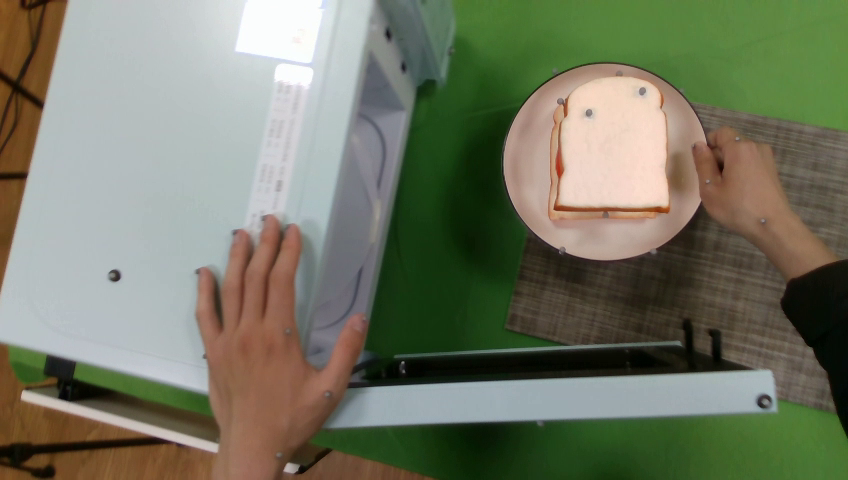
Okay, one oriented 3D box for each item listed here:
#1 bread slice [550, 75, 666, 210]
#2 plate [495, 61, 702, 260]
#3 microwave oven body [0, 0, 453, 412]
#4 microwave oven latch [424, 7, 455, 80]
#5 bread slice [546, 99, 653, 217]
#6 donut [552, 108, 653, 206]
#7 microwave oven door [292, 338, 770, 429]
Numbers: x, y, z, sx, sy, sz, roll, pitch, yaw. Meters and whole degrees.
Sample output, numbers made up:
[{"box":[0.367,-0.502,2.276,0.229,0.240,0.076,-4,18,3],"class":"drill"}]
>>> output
[{"box":[0.174,-0.094,0.578,0.104,0.019,0.131,0,82,11],"class":"bread slice"},{"box":[0.179,-0.081,0.636,0.207,0.039,0.207,0,86,6],"class":"plate"},{"box":[-0.177,-0.094,0.620,0.325,0.261,0.441,12,88,8],"class":"microwave oven body"},{"box":[0.017,-0.230,0.701,0.030,0.029,0.079,12,88,8],"class":"microwave oven latch"},{"box":[0.177,-0.088,0.633,0.107,0.018,0.134,-4,82,4],"class":"bread slice"},{"box":[0.178,-0.082,0.608,0.099,0.048,0.099,0,86,6],"class":"donut"},{"box":[0.087,0.128,0.565,0.355,0.244,0.039,-5,84,7],"class":"microwave oven door"}]
